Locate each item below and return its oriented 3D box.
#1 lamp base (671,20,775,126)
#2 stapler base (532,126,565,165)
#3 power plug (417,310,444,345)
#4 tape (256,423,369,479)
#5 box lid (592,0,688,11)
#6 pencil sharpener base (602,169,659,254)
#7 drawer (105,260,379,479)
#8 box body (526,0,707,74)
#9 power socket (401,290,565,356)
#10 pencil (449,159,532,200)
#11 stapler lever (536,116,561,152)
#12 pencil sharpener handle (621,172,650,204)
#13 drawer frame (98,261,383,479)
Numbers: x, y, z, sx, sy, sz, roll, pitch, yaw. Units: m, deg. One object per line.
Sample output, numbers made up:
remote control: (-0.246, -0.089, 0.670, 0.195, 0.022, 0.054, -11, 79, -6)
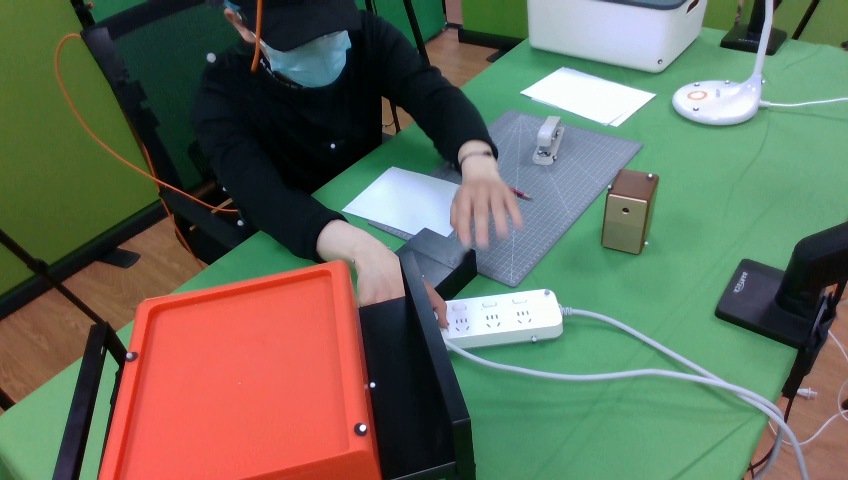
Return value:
lamp base: (0.582, -0.332, 1.153, 0.179, 0.181, 0.160, 2, 41, 7)
stapler base: (0.238, -0.189, 1.155, 0.041, 0.024, 0.130, 10, 42, 18)
power plug: (0.006, 0.122, 0.785, 0.035, 0.053, 0.072, 0, 39, 7)
tape: (-0.121, 0.262, 0.660, 0.117, 0.053, 0.116, -4, 40, 4)
box lid: (0.441, -0.596, 1.383, 0.368, 0.015, 0.264, 24, 49, 31)
pencil sharpener base: (0.312, -0.044, 0.913, 0.061, 0.107, 0.077, 14, 45, 24)
drawer: (-0.150, 0.127, 0.525, 0.195, 0.073, 0.210, -11, 41, -5)
box body: (0.450, -0.540, 1.430, 0.361, 0.161, 0.255, 24, 50, 31)
power socket: (0.080, 0.112, 0.822, 0.227, 0.033, 0.072, -6, 41, 0)
pencil: (0.117, -0.110, 1.090, 0.192, 0.012, 0.012, 31, 53, 34)
stapler lever: (0.235, -0.209, 1.141, 0.026, 0.040, 0.118, 9, 43, 18)
pencil sharpener handle: (0.328, -0.086, 0.940, 0.036, 0.068, 0.030, 30, 49, 8)
drawer frame: (-0.148, 0.129, 0.519, 0.202, 0.083, 0.212, -12, 41, -6)
